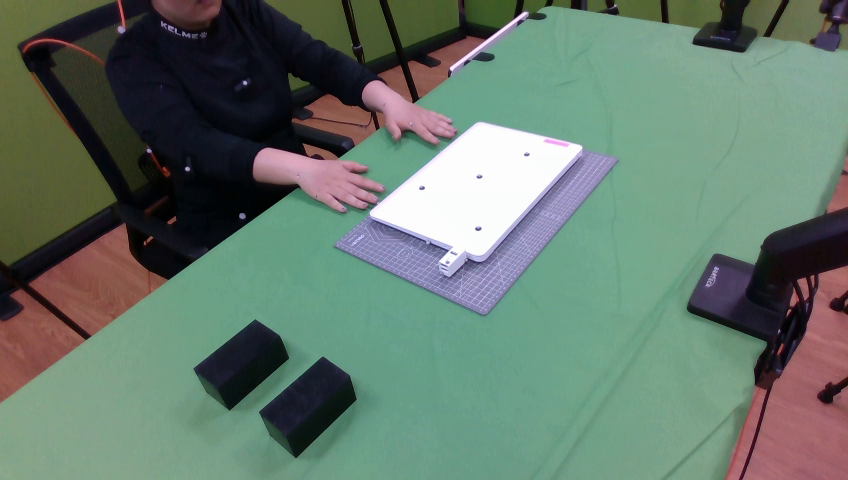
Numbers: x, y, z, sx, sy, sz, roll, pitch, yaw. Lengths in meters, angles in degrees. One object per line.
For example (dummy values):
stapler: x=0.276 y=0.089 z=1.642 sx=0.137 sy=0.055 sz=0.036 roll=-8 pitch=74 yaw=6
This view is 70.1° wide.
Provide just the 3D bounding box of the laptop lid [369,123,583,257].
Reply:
laptop lid: x=0.098 y=-0.106 z=1.065 sx=0.239 sy=0.013 sz=0.358 roll=22 pitch=48 yaw=33

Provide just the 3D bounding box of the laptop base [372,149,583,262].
laptop base: x=0.101 y=-0.097 z=1.071 sx=0.233 sy=0.023 sz=0.355 roll=19 pitch=47 yaw=32

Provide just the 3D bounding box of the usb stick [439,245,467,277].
usb stick: x=0.048 y=0.028 z=0.913 sx=0.021 sy=0.027 sz=0.059 roll=23 pitch=47 yaw=31
